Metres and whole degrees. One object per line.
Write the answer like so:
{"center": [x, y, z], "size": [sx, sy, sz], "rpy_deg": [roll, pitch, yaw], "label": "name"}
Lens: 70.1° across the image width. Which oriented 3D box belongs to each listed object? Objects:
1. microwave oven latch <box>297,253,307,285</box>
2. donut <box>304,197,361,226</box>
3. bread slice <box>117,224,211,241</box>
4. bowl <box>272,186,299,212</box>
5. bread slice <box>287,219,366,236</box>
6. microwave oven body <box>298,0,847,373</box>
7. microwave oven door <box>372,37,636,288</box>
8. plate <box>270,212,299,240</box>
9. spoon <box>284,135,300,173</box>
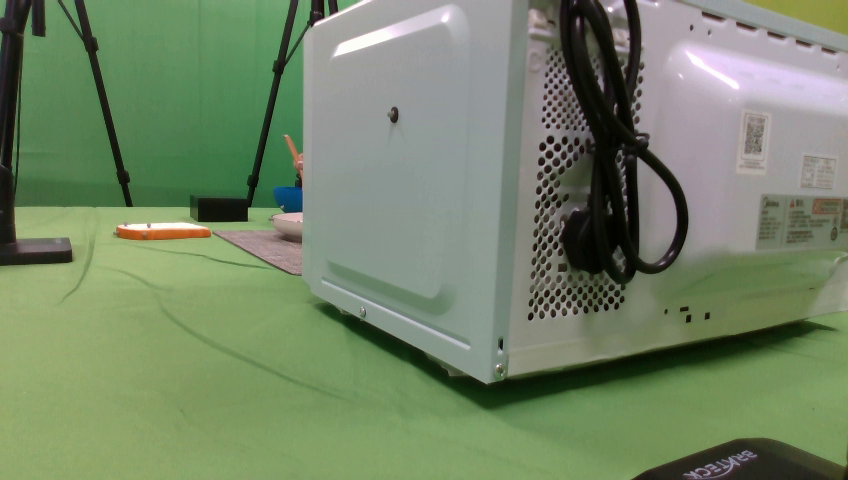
{"center": [-0.081, 0.027, 0.582], "size": [0.079, 0.029, 0.030], "rpy_deg": [-1, 7, -32], "label": "microwave oven latch"}
{"center": [-0.159, -0.050, 1.055], "size": [0.099, 0.048, 0.099], "rpy_deg": [3, 8, 0], "label": "donut"}
{"center": [-0.443, -0.015, 1.022], "size": [0.132, 0.019, 0.104], "rpy_deg": [-3, 8, -45], "label": "bread slice"}
{"center": [-0.254, -0.075, 1.318], "size": [0.151, 0.077, 0.151], "rpy_deg": [2, 7, 0], "label": "bowl"}
{"center": [-0.170, -0.022, 1.056], "size": [0.134, 0.018, 0.107], "rpy_deg": [2, 7, -6], "label": "bread slice"}
{"center": [0.151, -0.055, 0.542], "size": [0.444, 0.260, 0.324], "rpy_deg": [-2, 7, -33], "label": "microwave oven body"}
{"center": [0.109, -0.080, 0.686], "size": [0.358, 0.243, 0.039], "rpy_deg": [-2, 9, -33], "label": "microwave oven door"}
{"center": [-0.162, -0.022, 1.058], "size": [0.208, 0.039, 0.207], "rpy_deg": [2, 7, 0], "label": "plate"}
{"center": [-0.272, -0.149, 1.336], "size": [0.042, 0.193, 0.021], "rpy_deg": [-10, -13, -43], "label": "spoon"}
